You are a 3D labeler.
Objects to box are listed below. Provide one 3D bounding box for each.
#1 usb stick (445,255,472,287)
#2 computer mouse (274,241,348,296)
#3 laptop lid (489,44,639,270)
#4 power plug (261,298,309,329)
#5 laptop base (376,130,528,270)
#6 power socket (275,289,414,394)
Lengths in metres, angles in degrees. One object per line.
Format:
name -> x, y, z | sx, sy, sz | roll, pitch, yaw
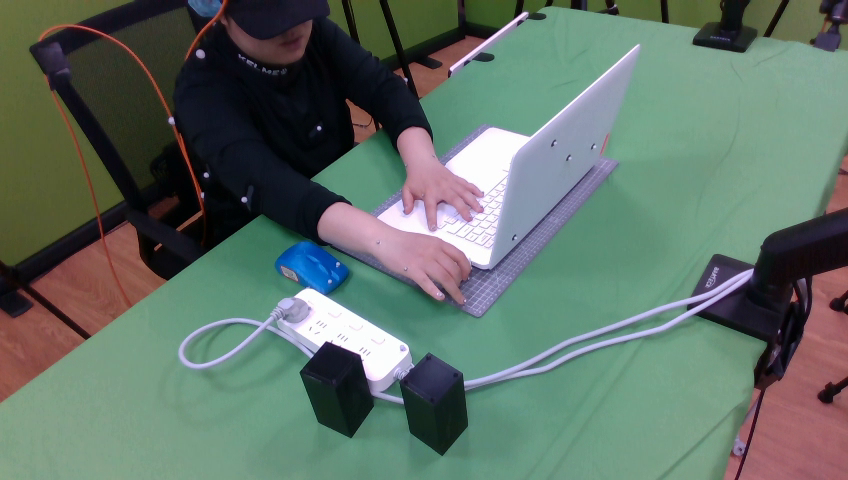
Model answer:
usb stick -> 0.056, 0.042, 0.895 | 0.021, 0.027, 0.059 | 16, 38, 29
computer mouse -> -0.176, 0.040, 0.935 | 0.116, 0.041, 0.063 | 27, 50, 27
laptop lid -> 0.213, -0.126, 0.907 | 0.013, 0.242, 0.358 | 32, 52, 23
power plug -> -0.192, 0.108, 0.830 | 0.073, 0.053, 0.035 | -32, 43, -25
laptop base -> 0.115, -0.085, 1.056 | 0.233, 0.023, 0.355 | 21, 48, 35
power socket -> -0.115, 0.133, 0.820 | 0.225, 0.033, 0.072 | 25, 49, 32
